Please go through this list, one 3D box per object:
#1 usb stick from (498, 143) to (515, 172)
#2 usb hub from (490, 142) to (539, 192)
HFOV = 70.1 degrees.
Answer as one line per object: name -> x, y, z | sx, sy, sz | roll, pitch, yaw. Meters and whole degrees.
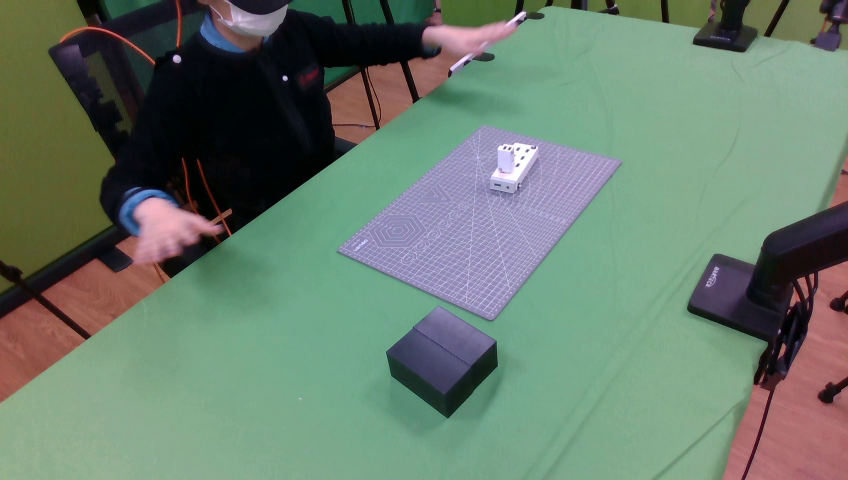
usb stick -> 0.144, -0.137, 1.052 | 0.027, 0.059, 0.021 | 15, 45, 21
usb hub -> 0.165, -0.132, 1.092 | 0.049, 0.025, 0.125 | 15, 46, 24
